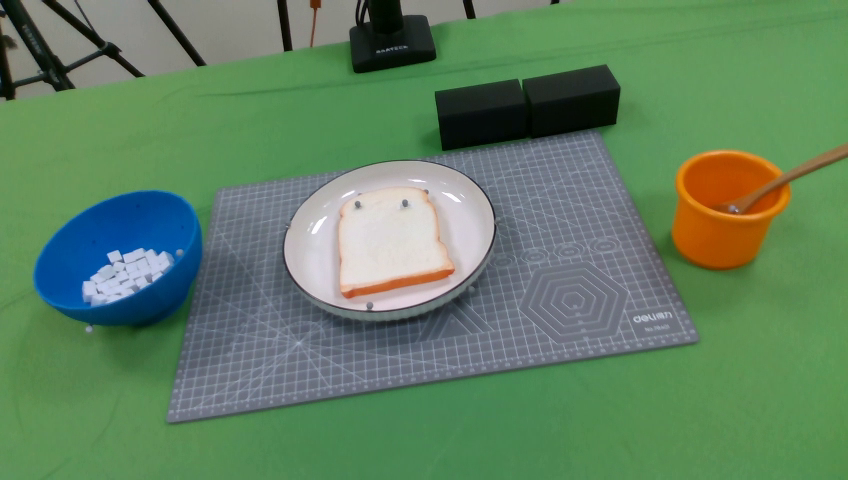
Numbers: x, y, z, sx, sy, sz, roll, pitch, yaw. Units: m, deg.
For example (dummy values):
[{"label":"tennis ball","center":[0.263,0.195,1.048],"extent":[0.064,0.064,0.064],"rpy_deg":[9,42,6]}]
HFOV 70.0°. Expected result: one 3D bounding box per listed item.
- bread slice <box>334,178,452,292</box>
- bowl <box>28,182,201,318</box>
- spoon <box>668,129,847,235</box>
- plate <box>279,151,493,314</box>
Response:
[{"label":"bread slice","center":[-0.040,-0.010,0.602],"extent":[0.107,0.018,0.133],"rpy_deg":[-14,49,-3]},{"label":"bowl","center":[-0.280,0.023,0.583],"extent":[0.151,0.077,0.150],"rpy_deg":[-4,47,5]},{"label":"spoon","center":[0.297,-0.054,0.513],"extent":[0.022,0.194,0.041],"rpy_deg":[30,47,-24]},{"label":"plate","center":[-0.036,-0.008,0.596],"extent":[0.209,0.038,0.207],"rpy_deg":[-5,47,5]}]
